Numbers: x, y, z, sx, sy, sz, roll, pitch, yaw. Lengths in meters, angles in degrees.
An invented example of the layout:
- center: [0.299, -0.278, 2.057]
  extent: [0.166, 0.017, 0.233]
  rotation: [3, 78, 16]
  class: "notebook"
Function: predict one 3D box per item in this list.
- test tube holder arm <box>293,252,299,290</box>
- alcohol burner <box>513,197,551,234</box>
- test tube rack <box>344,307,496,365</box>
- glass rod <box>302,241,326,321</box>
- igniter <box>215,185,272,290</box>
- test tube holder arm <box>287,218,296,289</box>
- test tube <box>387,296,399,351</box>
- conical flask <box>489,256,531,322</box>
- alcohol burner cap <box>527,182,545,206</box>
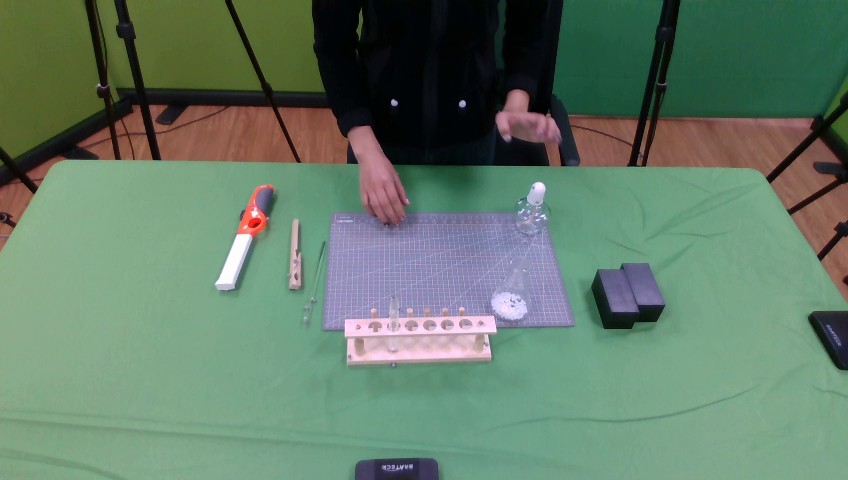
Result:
- center: [-0.241, 0.056, 1.131]
  extent: [0.010, 0.015, 0.087]
  rotation: [25, 35, -33]
  class: "test tube holder arm"
- center: [0.220, -0.069, 1.217]
  extent: [0.078, 0.119, 0.077]
  rotation: [3, 47, -3]
  class: "alcohol burner"
- center: [-0.009, 0.154, 1.007]
  extent: [0.242, 0.085, 0.066]
  rotation: [-1, 46, -5]
  class: "test tube rack"
- center: [-0.203, 0.071, 1.124]
  extent: [0.008, 0.008, 0.198]
  rotation: [4, 44, 1]
  class: "glass rod"
- center: [-0.347, -0.014, 1.182]
  extent: [0.057, 0.025, 0.275]
  rotation: [-1, 45, 8]
  class: "igniter"
- center: [-0.253, 0.022, 1.158]
  extent: [0.013, 0.015, 0.177]
  rotation: [24, 36, -34]
  class: "test tube holder arm"
- center: [-0.049, 0.134, 0.953]
  extent: [0.017, 0.151, 0.017]
  rotation: [2, 51, -3]
  class: "test tube"
- center: [0.158, 0.081, 1.061]
  extent: [0.075, 0.122, 0.075]
  rotation: [2, 46, -2]
  class: "conical flask"
- center: [0.222, -0.093, 1.189]
  extent: [0.034, 0.048, 0.033]
  rotation: [2, 54, -3]
  class: "alcohol burner cap"
